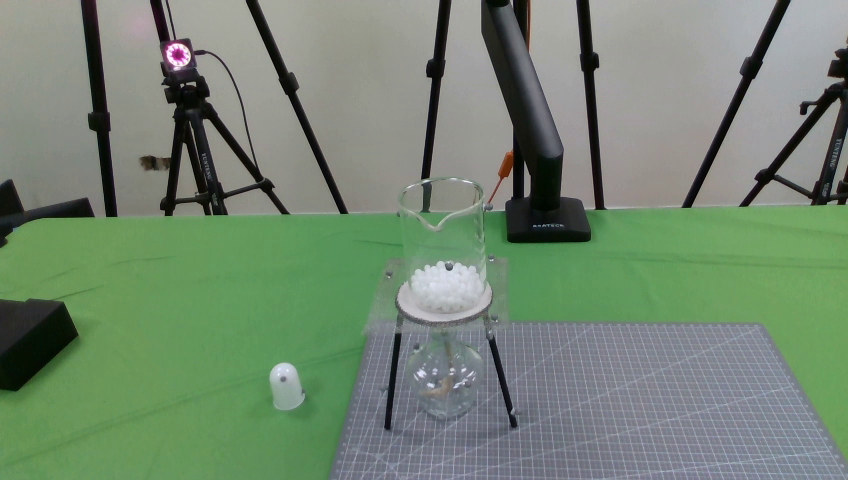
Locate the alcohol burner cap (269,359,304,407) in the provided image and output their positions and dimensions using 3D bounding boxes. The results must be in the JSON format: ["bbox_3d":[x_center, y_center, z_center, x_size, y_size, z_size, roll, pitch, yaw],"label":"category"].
[{"bbox_3d":[-0.143,0.143,0.621,0.034,0.048,0.033,-2,32,2],"label":"alcohol burner cap"}]

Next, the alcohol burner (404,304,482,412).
[{"bbox_3d":[0.018,0.109,0.585,0.078,0.120,0.077,-1,32,1],"label":"alcohol burner"}]

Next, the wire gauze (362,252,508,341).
[{"bbox_3d":[0.013,0.045,0.544,0.121,0.011,0.124,-2,32,8],"label":"wire gauze"}]

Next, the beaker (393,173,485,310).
[{"bbox_3d":[0.015,0.004,0.518,0.074,0.101,0.083,-1,31,9],"label":"beaker"}]

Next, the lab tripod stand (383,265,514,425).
[{"bbox_3d":[0.019,0.099,0.581,0.148,0.132,0.147,-4,29,3],"label":"lab tripod stand"}]
